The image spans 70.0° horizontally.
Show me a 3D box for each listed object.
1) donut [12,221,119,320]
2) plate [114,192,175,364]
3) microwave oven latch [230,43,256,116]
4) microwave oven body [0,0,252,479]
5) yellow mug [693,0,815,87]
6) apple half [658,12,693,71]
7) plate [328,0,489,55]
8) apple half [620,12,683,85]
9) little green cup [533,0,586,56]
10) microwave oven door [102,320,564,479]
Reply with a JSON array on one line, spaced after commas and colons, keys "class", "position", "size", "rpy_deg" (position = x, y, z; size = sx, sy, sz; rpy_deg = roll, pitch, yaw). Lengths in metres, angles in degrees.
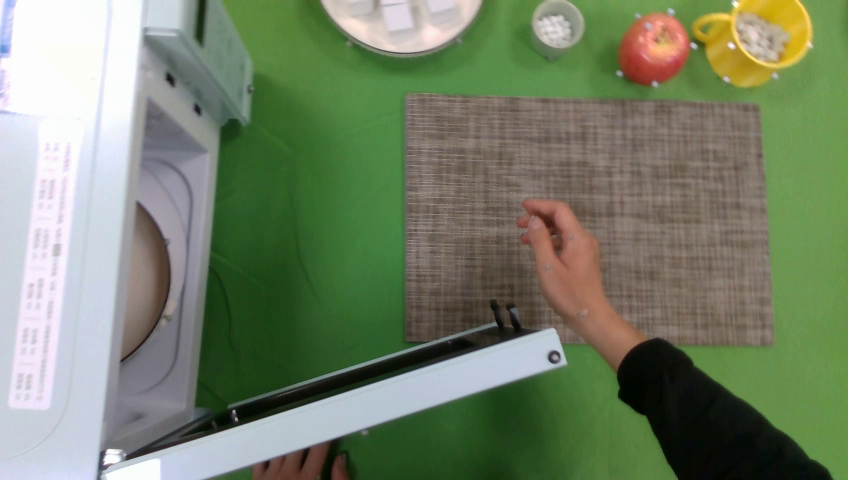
[{"class": "donut", "position": [-0.355, 0.030, 0.603], "size": [0.099, 0.048, 0.098], "rpy_deg": [1, 81, -4]}, {"class": "plate", "position": [-0.358, 0.034, 0.616], "size": [0.209, 0.038, 0.208], "rpy_deg": [1, 85, -5]}, {"class": "microwave oven latch", "position": [-0.210, -0.185, 0.693], "size": [0.030, 0.029, 0.079], "rpy_deg": [6, 84, -4]}, {"class": "microwave oven body", "position": [-0.363, -0.031, 0.570], "size": [0.326, 0.260, 0.440], "rpy_deg": [4, 84, -4]}, {"class": "yellow mug", "position": [0.400, -0.253, 0.748], "size": [0.131, 0.064, 0.099], "rpy_deg": [12, 83, -2]}, {"class": "apple half", "position": [0.302, -0.241, 0.736], "size": [0.033, 0.081, 0.081], "rpy_deg": [-26, 86, -1]}, {"class": "plate", "position": [-0.019, -0.322, 0.740], "size": [0.208, 0.039, 0.207], "rpy_deg": [0, 84, -4]}, {"class": "apple half", "position": [0.266, -0.224, 0.733], "size": [0.053, 0.074, 0.081], "rpy_deg": [-25, 90, -1]}, {"class": "little green cup", "position": [0.164, -0.259, 0.746], "size": [0.061, 0.038, 0.061], "rpy_deg": [0, 84, -3]}, {"class": "microwave oven door", "position": [-0.069, 0.143, 0.568], "size": [0.356, 0.244, 0.039], "rpy_deg": [-16, 84, -6]}]
